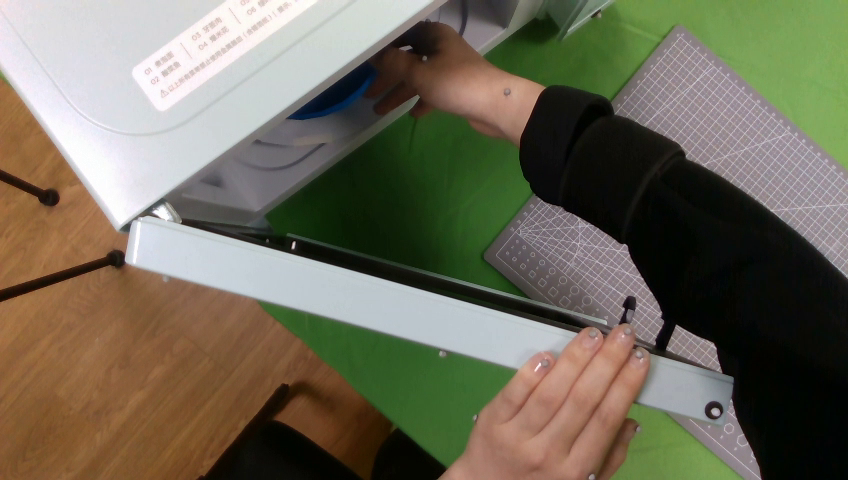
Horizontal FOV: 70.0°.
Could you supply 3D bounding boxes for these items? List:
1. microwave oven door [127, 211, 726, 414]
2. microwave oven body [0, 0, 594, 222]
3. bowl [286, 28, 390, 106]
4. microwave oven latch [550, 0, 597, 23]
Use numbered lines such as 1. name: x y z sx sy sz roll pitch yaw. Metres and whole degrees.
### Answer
1. microwave oven door: 0.003 0.039 0.460 0.356 0.243 0.039 15 90 -1
2. microwave oven body: -0.074 -0.250 0.457 0.442 0.260 0.326 -36 92 1
3. bowl: -0.099 -0.175 0.489 0.151 0.077 0.151 0 88 -1
4. microwave oven latch: 0.156 -0.236 0.558 0.079 0.029 0.030 -34 92 1
